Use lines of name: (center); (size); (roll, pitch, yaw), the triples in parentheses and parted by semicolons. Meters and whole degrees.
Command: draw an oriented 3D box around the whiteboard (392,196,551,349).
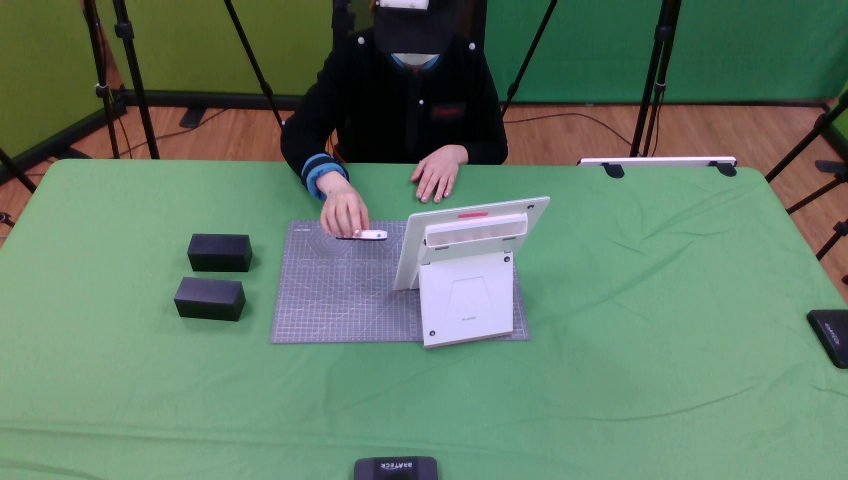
whiteboard: (0.077, 0.071, 0.977); (0.217, 0.306, 0.143); (-7, 67, -11)

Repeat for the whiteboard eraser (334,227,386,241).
whiteboard eraser: (-0.115, -0.012, 1.083); (0.101, 0.019, 0.041); (5, 8, 23)
